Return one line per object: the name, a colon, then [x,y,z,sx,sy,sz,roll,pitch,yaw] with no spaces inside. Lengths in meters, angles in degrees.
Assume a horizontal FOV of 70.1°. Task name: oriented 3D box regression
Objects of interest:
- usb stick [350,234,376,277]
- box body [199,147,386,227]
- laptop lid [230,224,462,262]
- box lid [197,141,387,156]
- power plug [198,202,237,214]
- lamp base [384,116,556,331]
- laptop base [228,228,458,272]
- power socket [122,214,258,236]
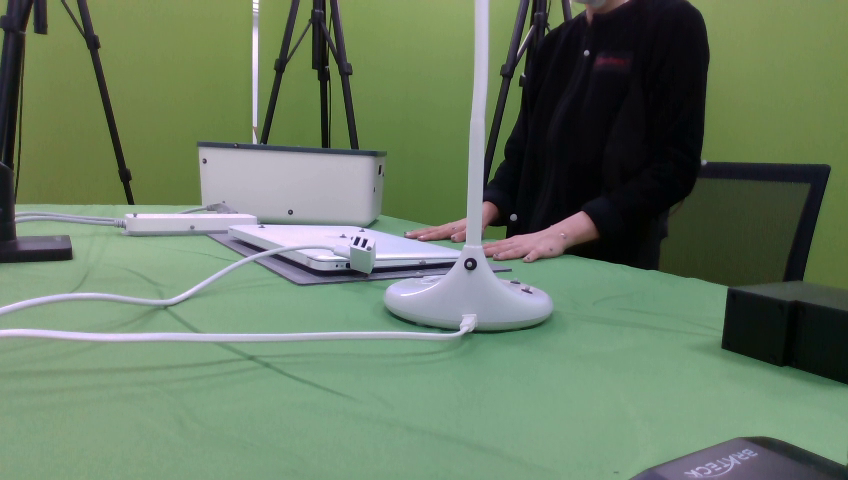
usb stick: [-0.069,0.020,0.689,0.027,0.059,0.021,12,53,8]
box body: [-0.277,-0.124,1.334,0.364,0.160,0.254,3,7,1]
laptop lid: [-0.119,0.000,0.889,0.243,0.013,0.355,1,7,-33]
box lid: [-0.275,-0.198,1.325,0.372,0.015,0.263,3,8,1]
power plug: [-0.391,-0.046,1.164,0.072,0.052,0.035,-12,2,28]
lamp base: [0.046,-0.019,0.545,0.161,0.180,0.179,1,10,-4]
laptop base: [-0.122,0.011,0.889,0.237,0.023,0.352,2,6,-35]
power socket: [-0.399,-0.028,1.050,0.228,0.032,0.072,-3,8,-33]
